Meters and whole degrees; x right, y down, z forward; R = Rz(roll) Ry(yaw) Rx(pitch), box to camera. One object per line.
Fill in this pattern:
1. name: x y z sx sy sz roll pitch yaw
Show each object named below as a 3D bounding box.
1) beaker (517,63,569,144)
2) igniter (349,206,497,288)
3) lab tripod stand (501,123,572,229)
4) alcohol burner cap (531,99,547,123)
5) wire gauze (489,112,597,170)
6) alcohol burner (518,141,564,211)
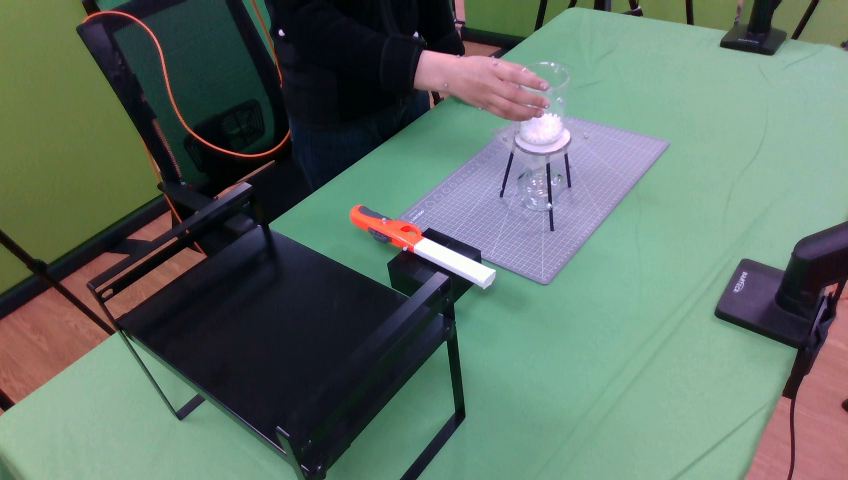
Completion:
1. beaker: 0.178 -0.203 0.906 0.073 0.101 0.084 28 56 29
2. igniter: -0.013 0.004 0.897 0.274 0.025 0.057 25 44 32
3. lab tripod stand: 0.194 -0.110 0.985 0.148 0.132 0.147 -3 41 3
4. alcohol burner cap: 0.234 -0.264 1.231 0.034 0.048 0.033 -5 41 5
5. wire gauze: 0.183 -0.161 0.942 0.122 0.011 0.124 -24 44 -18
6. alcohol burner: 0.193 -0.109 0.999 0.078 0.119 0.077 -6 38 5
